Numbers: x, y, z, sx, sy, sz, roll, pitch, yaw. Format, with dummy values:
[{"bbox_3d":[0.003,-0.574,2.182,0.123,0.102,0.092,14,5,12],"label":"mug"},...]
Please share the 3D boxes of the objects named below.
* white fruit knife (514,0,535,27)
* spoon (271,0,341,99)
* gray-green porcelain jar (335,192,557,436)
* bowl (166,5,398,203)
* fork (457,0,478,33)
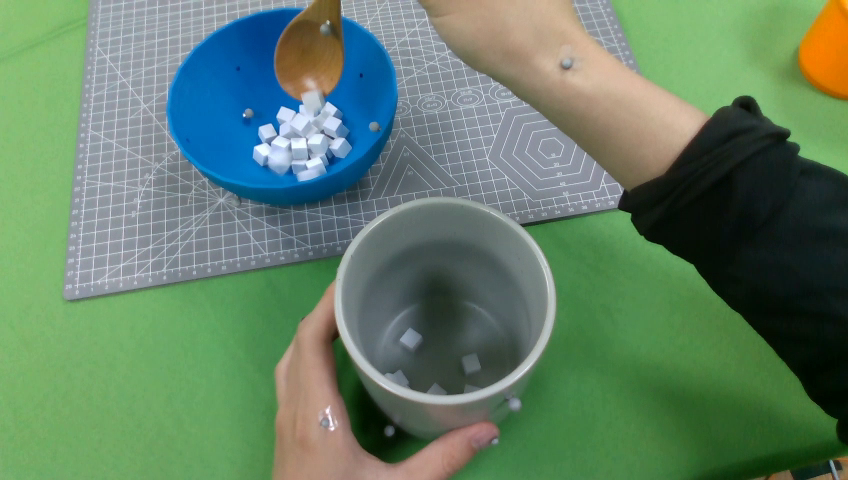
[{"bbox_3d":[0.067,-0.283,0.523,0.016,0.027,0.206,-10,78,-5],"label":"white fruit knife"},{"bbox_3d":[-0.041,-0.142,0.305,0.042,0.194,0.021,30,53,-9],"label":"spoon"},{"bbox_3d":[0.012,0.050,0.339,0.106,0.127,0.105,-1,63,2],"label":"gray-green porcelain jar"},{"bbox_3d":[-0.091,-0.082,0.427,0.151,0.077,0.150,0,64,1],"label":"bowl"},{"bbox_3d":[0.018,-0.276,0.519,0.028,0.018,0.206,-12,83,-8],"label":"fork"}]
